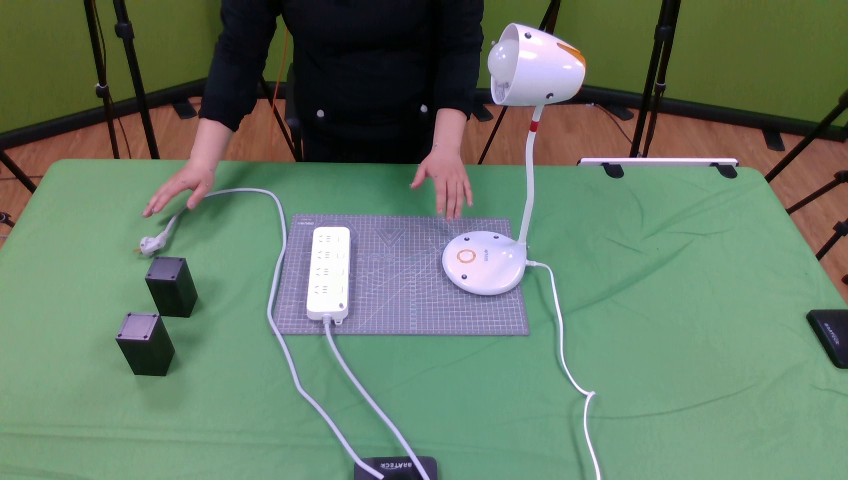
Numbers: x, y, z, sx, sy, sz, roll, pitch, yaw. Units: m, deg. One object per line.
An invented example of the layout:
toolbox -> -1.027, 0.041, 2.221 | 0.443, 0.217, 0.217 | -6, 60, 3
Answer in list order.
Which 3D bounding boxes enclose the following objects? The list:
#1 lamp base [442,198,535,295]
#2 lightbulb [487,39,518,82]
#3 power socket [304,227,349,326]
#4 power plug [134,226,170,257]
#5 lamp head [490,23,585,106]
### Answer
lamp base -> 0.130, -0.012, 1.104 | 0.179, 0.181, 0.159 | -1, 46, -9
lightbulb -> 0.143, -0.252, 0.865 | 0.108, 0.060, 0.059 | 9, 45, -7
power socket -> -0.177, 0.059, 1.115 | 0.072, 0.033, 0.225 | -1, 46, -4
power plug -> -0.515, 0.006, 1.152 | 0.052, 0.035, 0.072 | -5, 24, 7
lamp head -> 0.165, -0.241, 0.872 | 0.123, 0.113, 0.111 | 9, 43, -17
